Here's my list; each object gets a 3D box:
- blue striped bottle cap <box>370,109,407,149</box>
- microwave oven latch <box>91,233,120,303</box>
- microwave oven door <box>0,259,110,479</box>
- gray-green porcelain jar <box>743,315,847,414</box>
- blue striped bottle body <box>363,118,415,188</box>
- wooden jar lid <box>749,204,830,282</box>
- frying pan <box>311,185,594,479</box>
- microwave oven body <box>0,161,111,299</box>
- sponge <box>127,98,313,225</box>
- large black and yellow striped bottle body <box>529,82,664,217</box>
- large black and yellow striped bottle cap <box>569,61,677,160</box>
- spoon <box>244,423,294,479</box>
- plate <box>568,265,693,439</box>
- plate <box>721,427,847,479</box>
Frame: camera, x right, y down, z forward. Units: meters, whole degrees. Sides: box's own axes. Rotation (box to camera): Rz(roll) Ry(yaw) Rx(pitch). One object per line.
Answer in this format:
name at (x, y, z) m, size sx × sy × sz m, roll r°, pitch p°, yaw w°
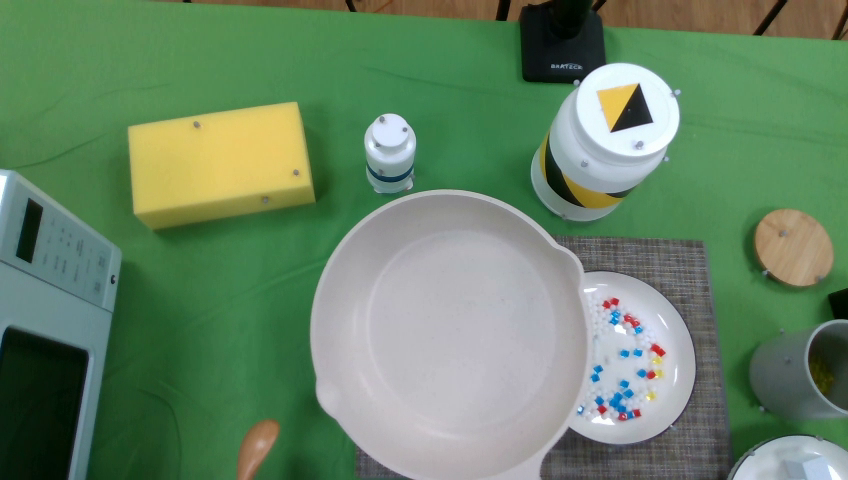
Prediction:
blue striped bottle cap at (-0.041, -0.129, 0.704) m, size 0.044 × 0.021 × 0.044 m, roll 1°, pitch 70°, yaw -2°
microwave oven latch at (-0.377, 0.032, 0.706) m, size 0.030 × 0.029 × 0.078 m, roll 3°, pitch 74°, yaw -4°
microwave oven door at (-0.378, 0.211, 0.546) m, size 0.039 × 0.245 × 0.353 m, roll 2°, pitch 73°, yaw -4°
gray-green porcelain jar at (0.452, 0.150, 0.712) m, size 0.106 × 0.127 × 0.105 m, roll 1°, pitch 73°, yaw -4°
blue striped bottle body at (-0.045, -0.114, 0.753) m, size 0.063 × 0.121 × 0.062 m, roll 1°, pitch 73°, yaw -4°
wooden jar lid at (0.487, 0.005, 0.814) m, size 0.108 × 0.021 × 0.108 m, roll 1°, pitch 75°, yaw -4°
frying pan at (0.068, 0.181, 0.595) m, size 0.307 × 0.103 × 0.484 m, roll -30°, pitch 73°, yaw 18°
microwave oven body at (-0.522, 0.166, 0.554) m, size 0.326 × 0.261 × 0.439 m, roll 3°, pitch 74°, yaw -4°
sponge at (-0.253, -0.099, 0.763) m, size 0.207 × 0.061 × 0.117 m, roll -11°, pitch 75°, yaw -9°
large black and yellow striped bottle body at (0.211, -0.117, 0.742) m, size 0.131 × 0.185 × 0.130 m, roll 1°, pitch 73°, yaw -4°
large black and yellow striped bottle cap at (0.217, -0.142, 0.660) m, size 0.115 × 0.019 × 0.114 m, roll 1°, pitch 72°, yaw -4°
spoon at (-0.197, 0.264, 0.610) m, size 0.022 × 0.041 × 0.193 m, roll 46°, pitch 81°, yaw -5°
plate at (0.220, 0.134, 0.740) m, size 0.209 × 0.038 × 0.208 m, roll 1°, pitch 74°, yaw -3°
plate at (0.439, 0.325, 0.705) m, size 0.208 × 0.039 × 0.206 m, roll 1°, pitch 73°, yaw -4°
